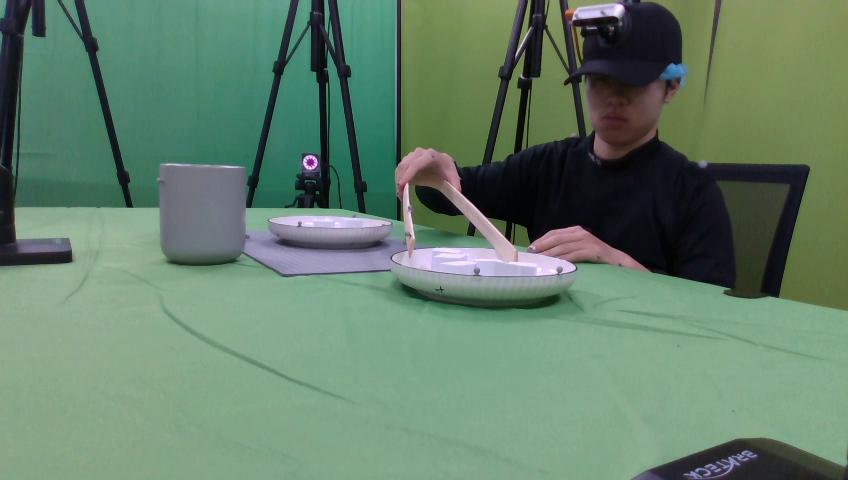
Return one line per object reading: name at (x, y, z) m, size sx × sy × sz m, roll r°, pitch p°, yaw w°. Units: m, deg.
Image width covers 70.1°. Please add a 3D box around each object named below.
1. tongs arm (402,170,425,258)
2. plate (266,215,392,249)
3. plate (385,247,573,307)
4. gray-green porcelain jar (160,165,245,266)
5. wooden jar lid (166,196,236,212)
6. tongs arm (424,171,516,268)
tongs arm at (-0.009, -0.049, 0.867) m, size 0.051 × 0.026 × 0.384 m, roll 5°, pitch 18°, yaw -6°
plate at (-0.159, -0.015, 1.019) m, size 0.209 × 0.038 × 0.209 m, roll 3°, pitch 7°, yaw 0°
plate at (0.060, 0.041, 0.678) m, size 0.208 × 0.039 × 0.207 m, roll 3°, pitch 7°, yaw 0°
gray-green porcelain jar at (-0.291, -0.034, 0.799) m, size 0.106 × 0.126 × 0.106 m, roll 2°, pitch 8°, yaw 0°
wooden jar lid at (-0.369, -0.060, 1.001) m, size 0.108 × 0.020 × 0.108 m, roll 3°, pitch 6°, yaw 0°
tongs arm at (0.058, -0.042, 0.879) m, size 0.028 × 0.028 × 0.386 m, roll -2°, pitch 20°, yaw -14°
